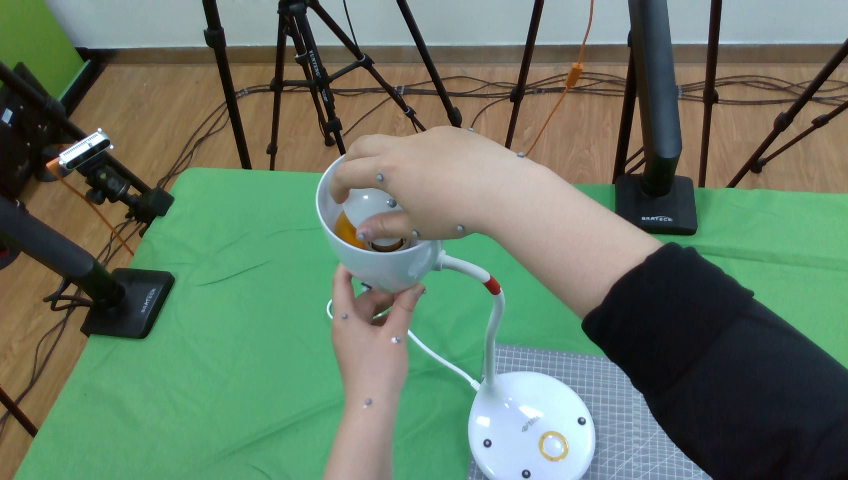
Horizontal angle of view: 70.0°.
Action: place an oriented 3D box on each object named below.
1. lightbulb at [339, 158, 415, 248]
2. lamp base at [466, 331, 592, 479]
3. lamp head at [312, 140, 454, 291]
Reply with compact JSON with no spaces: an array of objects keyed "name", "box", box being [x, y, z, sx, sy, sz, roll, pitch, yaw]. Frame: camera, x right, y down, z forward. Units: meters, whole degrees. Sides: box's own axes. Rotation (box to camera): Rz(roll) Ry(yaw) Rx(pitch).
[{"name":"lightbulb","box":[-0.035,-0.023,0.497,0.059,0.108,0.059,-1,61,3]},{"name":"lamp base","box":[0.113,0.187,0.722,0.177,0.182,0.160,27,61,29]},{"name":"lamp head","box":[-0.029,-0.008,0.526,0.112,0.124,0.111,-3,57,4]}]
